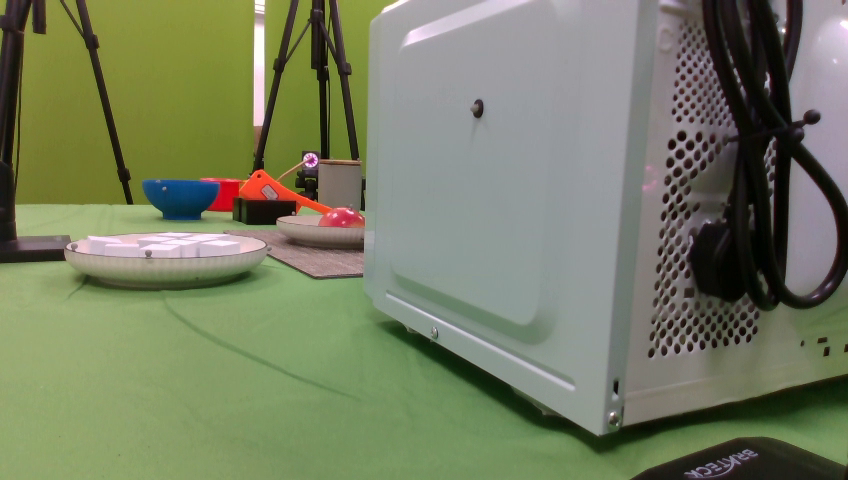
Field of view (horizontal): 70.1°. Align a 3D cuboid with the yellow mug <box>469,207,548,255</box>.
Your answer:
[{"bbox_3d":[0.136,-0.015,0.950,0.131,0.064,0.099,3,5,-20],"label":"yellow mug"}]

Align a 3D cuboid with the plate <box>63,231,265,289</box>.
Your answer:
[{"bbox_3d":[-0.288,0.021,0.687,0.208,0.039,0.207,2,8,0],"label":"plate"}]

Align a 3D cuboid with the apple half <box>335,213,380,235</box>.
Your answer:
[{"bbox_3d":[-0.112,-0.029,1.034,0.081,0.033,0.081,0,10,0],"label":"apple half"}]

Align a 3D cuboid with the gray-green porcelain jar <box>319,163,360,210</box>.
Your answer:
[{"bbox_3d":[-0.204,-0.126,1.490,0.106,0.126,0.106,2,8,0],"label":"gray-green porcelain jar"}]

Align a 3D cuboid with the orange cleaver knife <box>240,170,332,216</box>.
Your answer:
[{"bbox_3d":[-0.286,-0.081,1.299,0.212,0.077,0.012,25,-2,-31],"label":"orange cleaver knife"}]

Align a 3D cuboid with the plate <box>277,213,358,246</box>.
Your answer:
[{"bbox_3d":[-0.135,-0.018,0.993,0.209,0.038,0.209,2,7,0],"label":"plate"}]

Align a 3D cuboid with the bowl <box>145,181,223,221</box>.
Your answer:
[{"bbox_3d":[-0.499,-0.081,1.261,0.151,0.077,0.151,2,8,0],"label":"bowl"}]

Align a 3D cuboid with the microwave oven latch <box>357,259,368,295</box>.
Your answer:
[{"bbox_3d":[-0.019,0.031,0.529,0.079,0.029,0.030,-1,7,-26],"label":"microwave oven latch"}]

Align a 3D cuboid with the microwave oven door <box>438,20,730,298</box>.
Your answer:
[{"bbox_3d":[0.181,-0.076,0.618,0.358,0.243,0.039,-2,8,-28],"label":"microwave oven door"}]

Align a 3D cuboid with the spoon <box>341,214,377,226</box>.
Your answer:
[{"bbox_3d":[-0.132,-0.047,1.305,0.041,0.021,0.194,-14,4,14],"label":"spoon"}]

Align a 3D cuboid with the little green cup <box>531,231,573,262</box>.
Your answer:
[{"bbox_3d":[0.184,0.009,0.878,0.061,0.038,0.061,3,8,0],"label":"little green cup"}]

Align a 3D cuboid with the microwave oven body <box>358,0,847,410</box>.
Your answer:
[{"bbox_3d":[0.210,-0.051,0.471,0.444,0.260,0.324,-1,7,-28],"label":"microwave oven body"}]

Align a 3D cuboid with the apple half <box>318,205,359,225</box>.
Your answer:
[{"bbox_3d":[-0.126,-0.028,0.954,0.081,0.053,0.074,-2,11,-33],"label":"apple half"}]

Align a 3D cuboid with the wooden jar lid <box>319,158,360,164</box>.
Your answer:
[{"bbox_3d":[-0.202,-0.189,1.482,0.108,0.020,0.108,2,10,0],"label":"wooden jar lid"}]

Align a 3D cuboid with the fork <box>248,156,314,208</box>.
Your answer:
[{"bbox_3d":[-0.360,-0.147,1.523,0.207,0.019,0.028,-43,17,-6],"label":"fork"}]
